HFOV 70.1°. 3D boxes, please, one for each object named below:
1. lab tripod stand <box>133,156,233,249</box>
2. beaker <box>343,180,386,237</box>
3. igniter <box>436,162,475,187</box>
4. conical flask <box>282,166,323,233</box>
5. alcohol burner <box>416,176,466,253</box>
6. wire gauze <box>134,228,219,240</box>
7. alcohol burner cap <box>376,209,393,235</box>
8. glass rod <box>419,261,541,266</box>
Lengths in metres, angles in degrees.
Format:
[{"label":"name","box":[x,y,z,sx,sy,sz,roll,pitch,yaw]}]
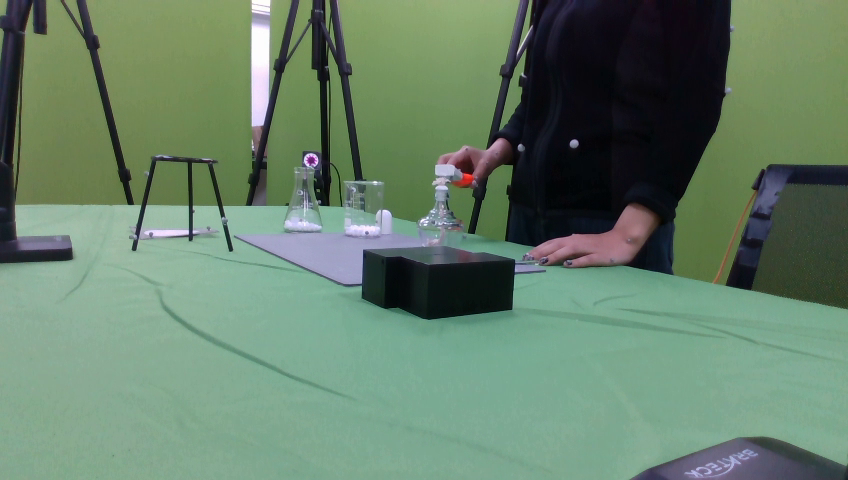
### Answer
[{"label":"lab tripod stand","box":[-0.342,-0.054,0.878,0.148,0.131,0.148,4,6,0]},{"label":"beaker","box":[-0.111,-0.058,1.090,0.083,0.100,0.074,7,8,33]},{"label":"igniter","box":[0.059,-0.116,1.084,0.057,0.025,0.277,2,1,11]},{"label":"conical flask","box":[-0.225,-0.076,1.129,0.075,0.122,0.075,2,8,0]},{"label":"alcohol burner","box":[0.027,-0.039,0.935,0.078,0.119,0.078,2,9,0]},{"label":"wire gauze","box":[-0.421,-0.014,1.024,0.122,0.011,0.124,-2,7,-34]},{"label":"alcohol burner cap","box":[-0.075,-0.036,1.150,0.034,0.048,0.034,2,7,0]},{"label":"glass rod","box":[0.080,0.031,0.807,0.201,0.008,0.008,1,6,-32]}]
